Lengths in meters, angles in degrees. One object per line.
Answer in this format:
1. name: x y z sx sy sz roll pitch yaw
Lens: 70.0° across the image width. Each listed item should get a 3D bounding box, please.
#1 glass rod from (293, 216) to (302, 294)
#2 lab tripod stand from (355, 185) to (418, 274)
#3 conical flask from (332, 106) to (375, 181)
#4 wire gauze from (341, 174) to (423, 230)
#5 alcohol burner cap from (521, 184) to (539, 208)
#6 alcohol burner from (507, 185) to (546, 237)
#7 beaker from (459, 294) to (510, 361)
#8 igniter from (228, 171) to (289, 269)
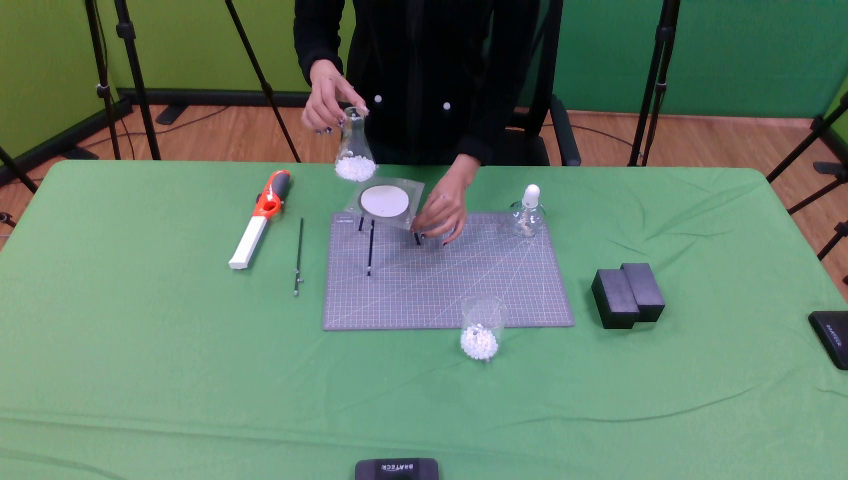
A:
1. glass rod: -0.242 0.024 1.166 0.008 0.008 0.198 -1 47 -5
2. lab tripod stand: -0.079 -0.028 1.139 0.148 0.132 0.147 3 44 -3
3. conical flask: -0.120 -0.166 1.028 0.075 0.122 0.075 3 44 -3
4. wire gauze: -0.074 -0.074 1.091 0.125 0.011 0.121 13 44 7
5. alcohol burner cap: 0.210 -0.087 1.183 0.034 0.048 0.033 1 52 -1
6. alcohol burner: 0.208 -0.063 1.210 0.078 0.119 0.077 3 44 -3
7. beaker: 0.095 0.148 1.012 0.083 0.101 0.074 26 49 21
8. igniter: -0.328 -0.049 1.218 0.057 0.025 0.275 1 45 11
